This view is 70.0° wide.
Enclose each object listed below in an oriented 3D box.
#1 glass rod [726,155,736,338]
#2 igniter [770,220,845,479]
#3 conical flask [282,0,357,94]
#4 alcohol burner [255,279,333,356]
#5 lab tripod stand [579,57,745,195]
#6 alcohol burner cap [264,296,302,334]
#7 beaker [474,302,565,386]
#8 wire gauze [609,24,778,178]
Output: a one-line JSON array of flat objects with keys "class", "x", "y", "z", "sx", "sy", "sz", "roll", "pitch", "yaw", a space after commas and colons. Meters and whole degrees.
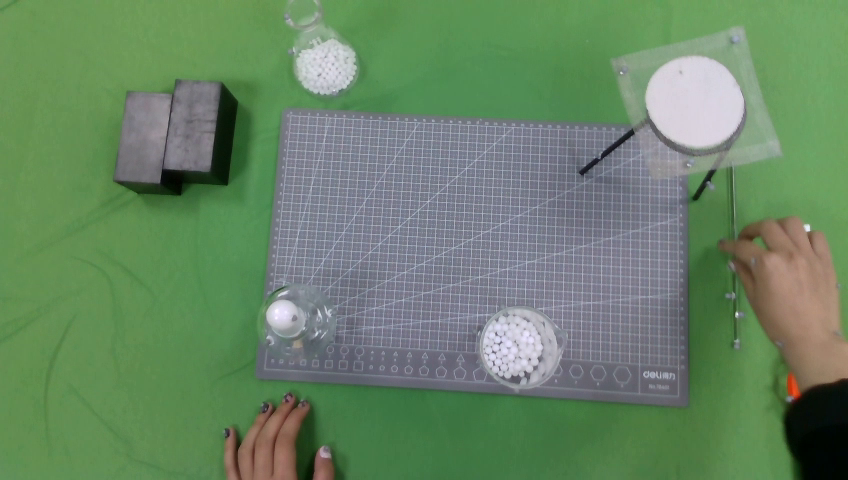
[{"class": "glass rod", "x": 0.329, "y": 0.004, "z": 0.649, "sx": 0.008, "sy": 0.008, "sz": 0.199, "roll": 3, "pitch": 81, "yaw": 1}, {"class": "igniter", "x": 0.391, "y": 0.116, "z": 0.620, "sx": 0.057, "sy": 0.025, "sz": 0.275, "roll": -2, "pitch": 81, "yaw": -10}, {"class": "conical flask", "x": -0.114, "y": -0.210, "z": 0.634, "sx": 0.075, "sy": 0.122, "sz": 0.075, "roll": 0, "pitch": 80, "yaw": 2}, {"class": "alcohol burner", "x": -0.130, "y": 0.074, "z": 0.590, "sx": 0.078, "sy": 0.119, "sz": 0.077, "roll": 0, "pitch": 79, "yaw": 0}, {"class": "lab tripod stand", "x": 0.239, "y": -0.108, "z": 0.604, "sx": 0.148, "sy": 0.132, "sz": 0.148, "roll": 0, "pitch": 82, "yaw": 0}, {"class": "alcohol burner cap", "x": -0.130, "y": 0.066, "z": 0.555, "sx": 0.034, "sy": 0.048, "sz": 0.033, "roll": 2, "pitch": 73, "yaw": -5}, {"class": "beaker", "x": 0.088, "y": 0.099, "z": 0.590, "sx": 0.084, "sy": 0.100, "sz": 0.073, "roll": -15, "pitch": 81, "yaw": -1}, {"class": "wire gauze", "x": 0.240, "y": -0.123, "z": 0.539, "sx": 0.125, "sy": 0.011, "sz": 0.121, "roll": -13, "pitch": 82, "yaw": -1}]
